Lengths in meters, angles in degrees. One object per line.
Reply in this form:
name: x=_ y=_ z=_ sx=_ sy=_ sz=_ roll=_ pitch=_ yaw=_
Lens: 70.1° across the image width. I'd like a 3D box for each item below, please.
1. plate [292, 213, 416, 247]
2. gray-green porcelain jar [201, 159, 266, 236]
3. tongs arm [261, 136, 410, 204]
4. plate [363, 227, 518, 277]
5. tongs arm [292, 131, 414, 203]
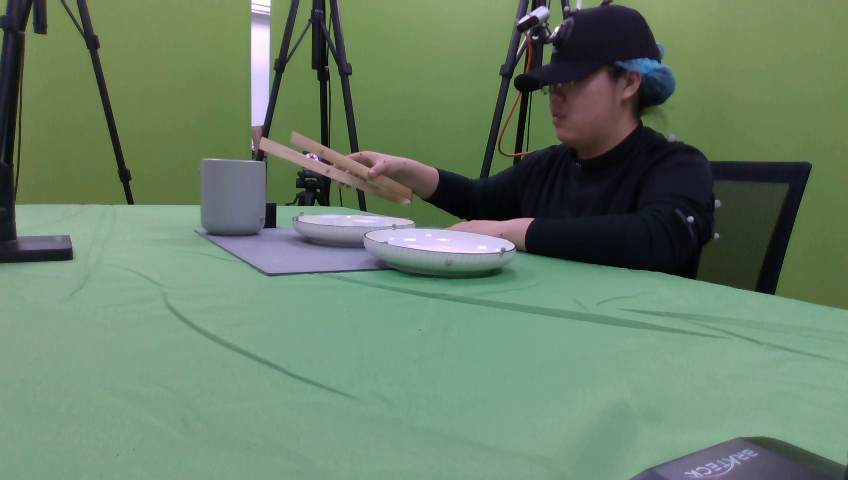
plate: x=-0.118 y=-0.017 z=1.024 sx=0.208 sy=0.039 sz=0.207 roll=2 pitch=8 yaw=0
gray-green porcelain jar: x=-0.326 y=-0.073 z=1.036 sx=0.106 sy=0.126 sz=0.106 roll=3 pitch=8 yaw=0
tongs arm: x=-0.172 y=-0.143 z=1.289 sx=0.050 sy=0.026 sz=0.387 roll=-2 pitch=-15 yaw=40
plate: x=0.021 y=0.016 z=0.817 sx=0.209 sy=0.038 sz=0.209 roll=4 pitch=9 yaw=0
tongs arm: x=-0.130 y=-0.143 z=1.254 sx=0.028 sy=0.027 sz=0.390 roll=-4 pitch=-16 yaw=34
